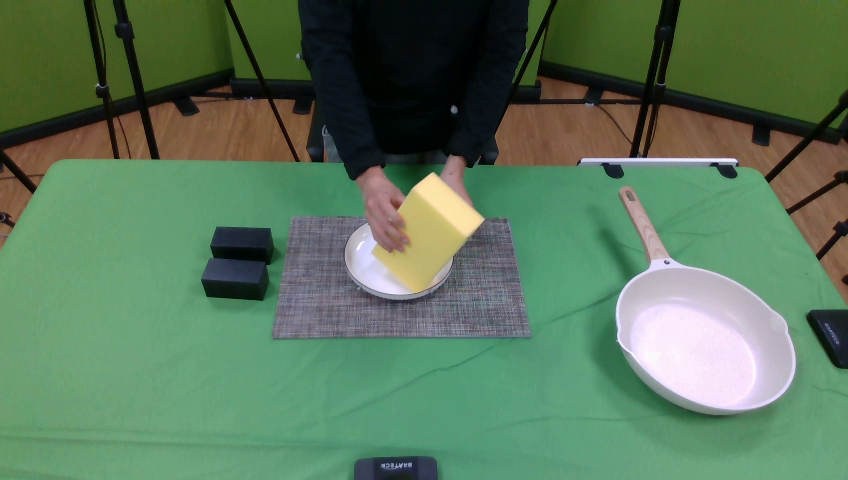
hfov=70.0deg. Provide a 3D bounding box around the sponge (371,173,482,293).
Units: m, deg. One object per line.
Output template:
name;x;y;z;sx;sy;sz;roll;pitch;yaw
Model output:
sponge;-0.002;-0.005;1.043;0.118;0.207;0.061;43;51;5

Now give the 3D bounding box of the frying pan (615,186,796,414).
frying pan;0.449;0.087;1.092;0.307;0.103;0.484;-4;55;-10

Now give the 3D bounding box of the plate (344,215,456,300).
plate;-0.045;0.035;1.146;0.208;0.039;0.206;2;46;-2
